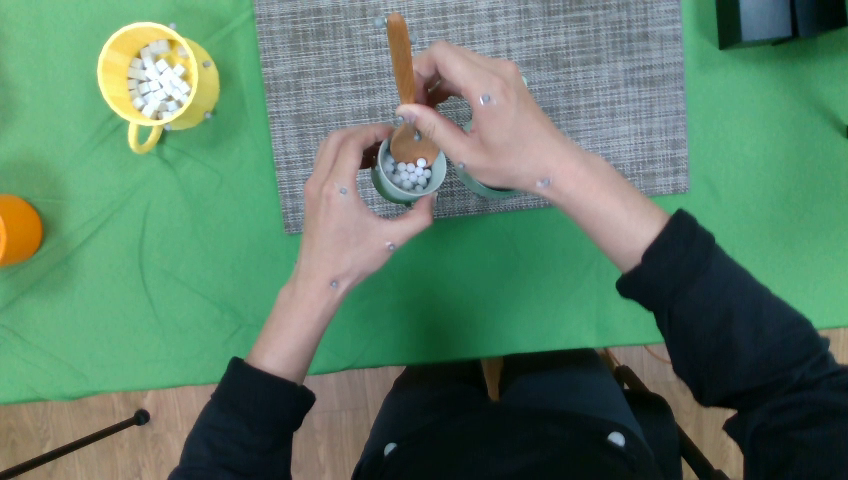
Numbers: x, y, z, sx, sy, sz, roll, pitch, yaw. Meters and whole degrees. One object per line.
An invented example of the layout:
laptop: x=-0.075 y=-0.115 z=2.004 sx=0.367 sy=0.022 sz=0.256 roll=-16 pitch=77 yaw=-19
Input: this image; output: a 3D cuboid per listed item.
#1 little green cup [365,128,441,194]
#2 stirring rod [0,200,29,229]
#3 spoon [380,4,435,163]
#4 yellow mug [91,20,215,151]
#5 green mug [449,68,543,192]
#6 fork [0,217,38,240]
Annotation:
little green cup: x=-0.021 y=-0.068 z=0.523 sx=0.062 sy=0.038 sz=0.061 roll=1 pitch=89 yaw=-28
stirring rod: x=-0.482 y=0.015 z=0.613 sx=0.014 sy=0.006 sz=0.175 roll=44 pitch=53 yaw=-7
spoon: x=-0.013 y=-0.102 z=0.439 sx=0.041 sy=0.194 sz=0.021 roll=-6 pitch=75 yaw=0
yellow mug: x=-0.281 y=-0.154 z=0.626 sx=0.100 sy=0.064 sz=0.131 roll=19 pitch=98 yaw=-3
green mug: x=0.075 y=-0.109 z=0.610 sx=0.092 sy=0.104 sz=0.125 roll=10 pitch=97 yaw=-1
fork: x=-0.507 y=-0.018 z=0.603 sx=0.209 sy=0.018 sz=0.028 roll=5 pitch=96 yaw=-44
